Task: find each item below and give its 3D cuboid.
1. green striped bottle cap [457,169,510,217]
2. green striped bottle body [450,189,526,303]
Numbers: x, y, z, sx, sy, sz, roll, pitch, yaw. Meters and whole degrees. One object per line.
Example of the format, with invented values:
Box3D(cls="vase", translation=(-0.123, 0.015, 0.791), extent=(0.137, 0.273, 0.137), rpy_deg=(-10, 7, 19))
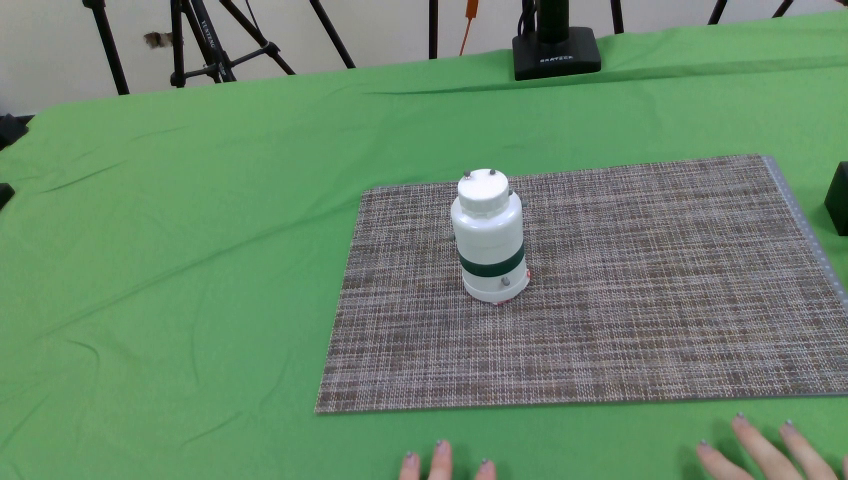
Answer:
Box3D(cls="green striped bottle cap", translation=(0.050, -0.040, 0.515), extent=(0.044, 0.020, 0.044), rpy_deg=(-8, 43, 8))
Box3D(cls="green striped bottle body", translation=(0.059, -0.003, 0.551), extent=(0.063, 0.120, 0.062), rpy_deg=(-7, 43, 7))
